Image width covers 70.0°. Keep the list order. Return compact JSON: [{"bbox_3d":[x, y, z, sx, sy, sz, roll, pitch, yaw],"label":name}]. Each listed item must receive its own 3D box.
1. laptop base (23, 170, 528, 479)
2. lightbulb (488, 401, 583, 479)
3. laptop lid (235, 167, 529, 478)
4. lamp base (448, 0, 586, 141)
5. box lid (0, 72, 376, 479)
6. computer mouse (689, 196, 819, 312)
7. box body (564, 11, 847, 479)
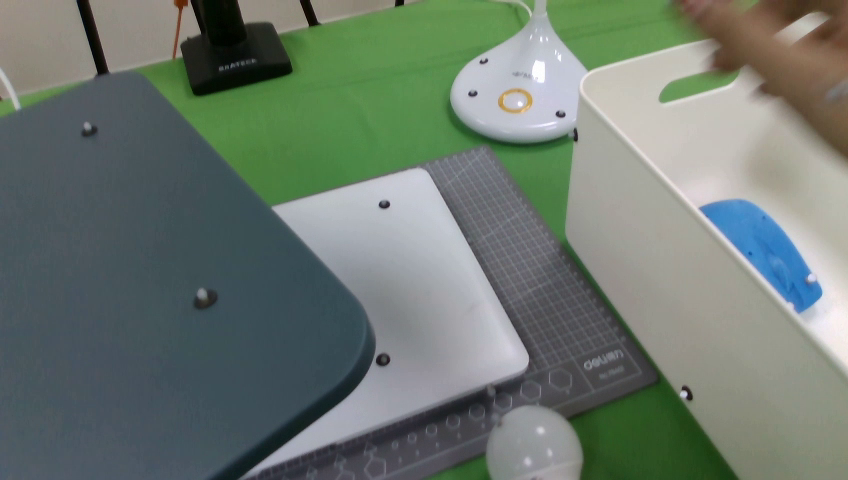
[{"bbox_3d":[-0.124,0.066,0.483,0.355,0.023,0.233,-17,53,-12],"label":"laptop base"},{"bbox_3d":[0.076,0.154,0.373,0.059,0.060,0.106,-12,63,-7],"label":"lightbulb"},{"bbox_3d":[-0.124,0.060,0.473,0.357,0.013,0.239,-16,51,-11],"label":"laptop lid"},{"bbox_3d":[0.105,-0.224,0.624,0.160,0.182,0.178,8,46,11],"label":"lamp base"},{"bbox_3d":[-0.221,0.020,0.318,0.263,0.015,0.367,-33,48,-21],"label":"box lid"},{"bbox_3d":[0.262,0.009,0.492,0.063,0.041,0.116,-16,54,-14],"label":"computer mouse"},{"bbox_3d":[0.284,0.021,0.405,0.254,0.162,0.360,-18,49,-12],"label":"box body"}]
